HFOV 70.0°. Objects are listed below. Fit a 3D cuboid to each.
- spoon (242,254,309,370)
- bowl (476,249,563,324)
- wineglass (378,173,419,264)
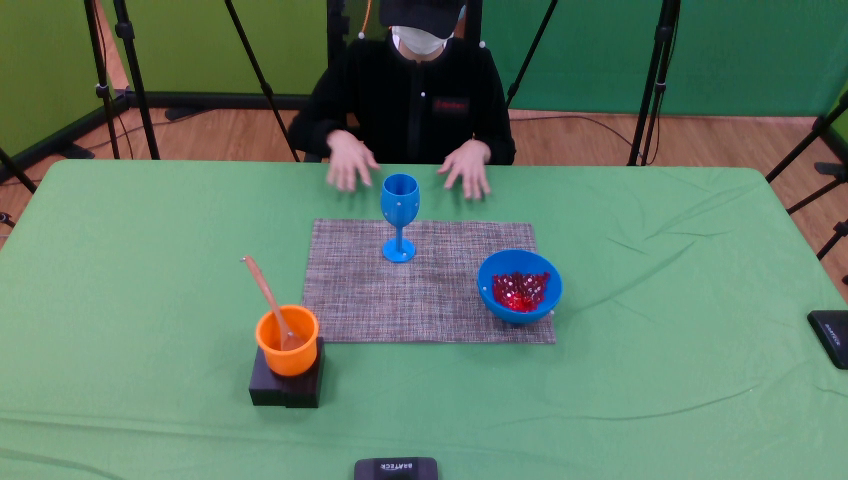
[{"bbox_3d":[-0.226,0.108,0.918,0.041,0.194,0.021,-28,10,-31],"label":"spoon"},{"bbox_3d":[0.163,0.096,1.073,0.151,0.077,0.150,2,45,-2],"label":"bowl"},{"bbox_3d":[-0.047,-0.037,1.121,0.074,0.173,0.073,2,46,-2],"label":"wineglass"}]
